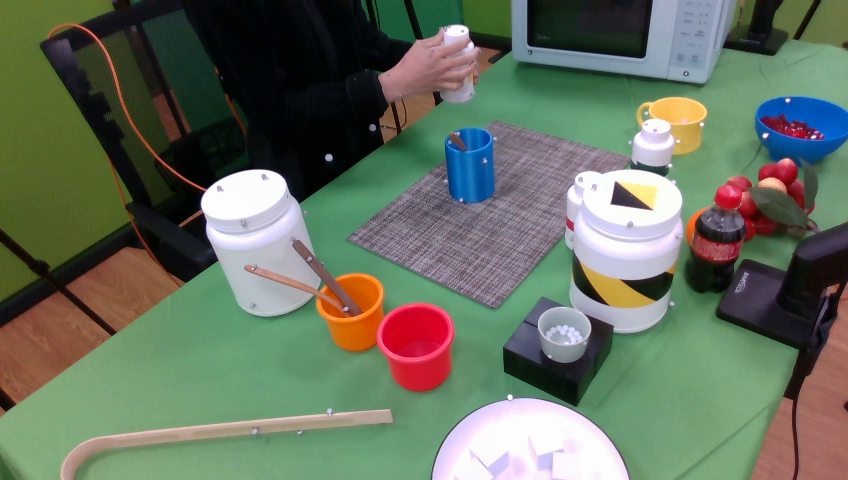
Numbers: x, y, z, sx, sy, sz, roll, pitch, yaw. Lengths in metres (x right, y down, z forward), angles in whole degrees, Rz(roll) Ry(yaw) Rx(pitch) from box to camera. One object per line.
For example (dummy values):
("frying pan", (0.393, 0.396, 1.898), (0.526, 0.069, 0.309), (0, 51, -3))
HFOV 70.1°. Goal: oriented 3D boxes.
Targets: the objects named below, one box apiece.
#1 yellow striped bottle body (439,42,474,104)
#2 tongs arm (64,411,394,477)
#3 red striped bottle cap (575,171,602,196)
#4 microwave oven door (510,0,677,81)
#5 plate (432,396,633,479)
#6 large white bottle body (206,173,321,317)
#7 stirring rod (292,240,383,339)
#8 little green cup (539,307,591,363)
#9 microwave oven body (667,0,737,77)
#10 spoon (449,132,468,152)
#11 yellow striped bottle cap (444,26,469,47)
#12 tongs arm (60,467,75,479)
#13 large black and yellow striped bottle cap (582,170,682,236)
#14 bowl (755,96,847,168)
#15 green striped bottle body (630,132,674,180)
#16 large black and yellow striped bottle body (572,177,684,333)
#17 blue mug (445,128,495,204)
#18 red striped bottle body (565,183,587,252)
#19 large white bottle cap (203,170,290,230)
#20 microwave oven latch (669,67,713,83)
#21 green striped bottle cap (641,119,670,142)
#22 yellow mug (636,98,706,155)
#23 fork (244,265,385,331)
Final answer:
("yellow striped bottle body", (0.058, -0.311, 1.080), (0.063, 0.121, 0.062), (-2, 42, 2))
("tongs arm", (-0.228, 0.241, 0.715), (0.385, 0.026, 0.050), (-5, 43, 4))
("red striped bottle cap", (0.242, -0.081, 0.876), (0.044, 0.018, 0.044), (-5, 44, 5))
("microwave oven door", (0.354, -0.478, 1.290), (0.353, 0.245, 0.039), (15, 45, 25))
("plate", (0.112, 0.261, 0.634), (0.209, 0.038, 0.208), (-5, 40, 4))
("large white bottle body", (-0.232, 0.007, 0.876), (0.130, 0.185, 0.130), (-5, 40, 4))
("stirring rod", (-0.118, 0.068, 0.826), (0.176, 0.006, 0.014), (49, 59, -4))
("little green cup", (0.167, 0.114, 0.721), (0.061, 0.039, 0.061), (-4, 43, 4))
("microwave oven body", (0.462, -0.552, 1.369), (0.439, 0.261, 0.326), (15, 45, 26))
("spoon", (0.067, -0.143, 0.998), (0.041, 0.195, 0.021), (9, 79, 18))
("yellow striped bottle cap", (0.056, -0.352, 1.045), (0.044, 0.019, 0.044), (-3, 45, 3))
("tongs arm", (-0.239, 0.301, 0.648), (0.386, 0.028, 0.028), (6, 49, 16))
("large black and yellow striped bottle cap", (0.252, -0.048, 0.735), (0.115, 0.019, 0.114), (-3, 40, 3))
("bowl", (0.645, -0.177, 1.041), (0.151, 0.077, 0.150), (-5, 40, 4))
("green striped bottle body", (0.376, -0.135, 1.001), (0.063, 0.120, 0.063), (-5, 40, 5))
("large black and yellow striped bottle body", (0.262, 0.017, 0.788), (0.131, 0.185, 0.130), (-5, 40, 4))
("blue mug", (0.081, -0.139, 1.058), (0.082, 0.106, 0.116), (-4, 40, 4))
("red striped bottle body", (0.247, -0.041, 0.910), (0.063, 0.120, 0.062), (-3, 39, 3))
("large white bottle cap", (-0.241, -0.057, 0.822), (0.115, 0.018, 0.114), (-4, 40, 4))
("microwave oven latch", (0.556, -0.348, 1.262), (0.078, 0.029, 0.030), (16, 46, 27))
("green striped bottle cap", (0.371, -0.175, 0.968), (0.044, 0.020, 0.044), (-5, 41, 5))
("yellow mug", (0.453, -0.217, 1.128), (0.100, 0.064, 0.129), (-34, 46, -27))
("fork", (-0.142, 0.078, 0.806), (0.209, 0.018, 0.028), (30, 33, -24))
